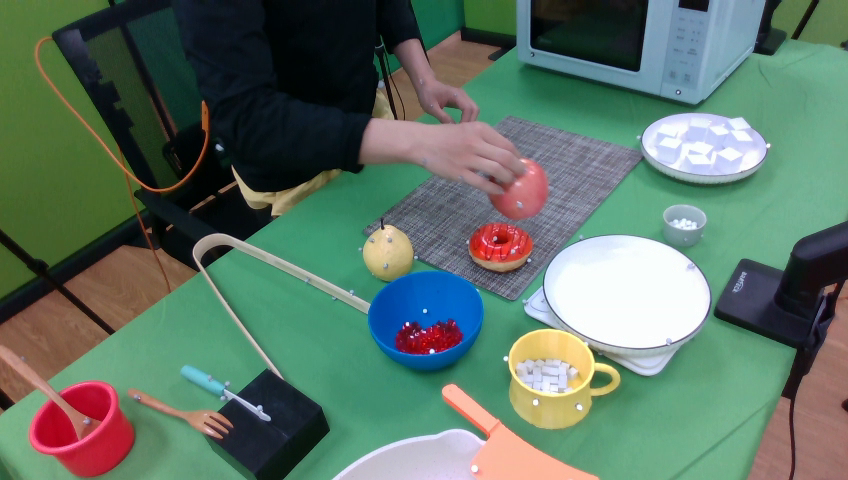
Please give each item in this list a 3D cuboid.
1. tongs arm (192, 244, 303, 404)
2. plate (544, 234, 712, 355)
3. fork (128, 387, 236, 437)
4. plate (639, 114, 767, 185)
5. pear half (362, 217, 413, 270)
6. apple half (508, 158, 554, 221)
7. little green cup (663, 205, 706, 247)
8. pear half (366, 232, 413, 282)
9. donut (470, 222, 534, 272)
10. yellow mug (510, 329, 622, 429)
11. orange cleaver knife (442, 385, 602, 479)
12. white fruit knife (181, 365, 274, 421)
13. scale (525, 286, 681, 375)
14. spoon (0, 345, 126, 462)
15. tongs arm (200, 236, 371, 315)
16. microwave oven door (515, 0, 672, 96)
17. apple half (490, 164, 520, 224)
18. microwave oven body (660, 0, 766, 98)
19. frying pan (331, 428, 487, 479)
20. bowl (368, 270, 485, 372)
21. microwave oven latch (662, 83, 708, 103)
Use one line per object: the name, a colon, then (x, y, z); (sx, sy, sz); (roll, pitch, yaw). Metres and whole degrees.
tongs arm: (-0.268, 0.110, 0.882); (0.028, 0.028, 0.384); (-35, 46, -18)
plate: (0.262, 0.072, 0.792); (0.209, 0.038, 0.208); (-4, 41, 4)
fork: (-0.305, 0.208, 0.744); (0.206, 0.019, 0.028); (3, 41, 36)
plate: (0.489, -0.157, 1.074); (0.207, 0.039, 0.206); (-4, 40, 4)
pear half: (-0.059, 0.002, 0.913); (0.076, 0.110, 0.055); (-14, 40, -13)
apple half: (0.144, -0.068, 0.798); (0.053, 0.075, 0.080); (-12, 31, 6)
little green cup: (0.396, -0.020, 0.926); (0.061, 0.039, 0.061); (-4, 40, 4)
pear half: (-0.048, 0.031, 0.893); (0.071, 0.088, 0.031); (-16, 40, -14)
donut: (0.119, 0.009, 0.923); (0.099, 0.048, 0.098); (-4, 38, 4)
yellow mug: (0.168, 0.164, 0.721); (0.130, 0.064, 0.099); (0, 40, 8)
orange cleaver knife: (0.085, 0.219, 0.612); (0.209, 0.012, 0.077); (28, 49, 35)
white fruit knife: (-0.246, 0.188, 0.747); (0.205, 0.027, 0.016); (9, 41, 41)
scale: (0.254, 0.091, 0.821); (0.199, 0.032, 0.149); (27, 51, 35)
spoon: (-0.434, 0.192, 0.720); (0.194, 0.021, 0.042); (47, 53, -6)
tongs arm: (-0.209, 0.062, 0.924); (0.381, 0.026, 0.051); (23, 53, 32)
microwave oven door: (0.343, -0.455, 1.259); (0.353, 0.245, 0.039); (26, 51, 33)
apple half: (0.105, -0.058, 0.804); (0.033, 0.081, 0.081); (-7, 40, -5)
microwave oven body: (0.472, -0.513, 1.317); (0.438, 0.261, 0.327); (26, 51, 34)
frying pan: (-0.089, 0.306, 0.564); (0.487, 0.103, 0.306); (10, 41, 7)
bowl: (0.007, 0.119, 0.791); (0.151, 0.077, 0.150); (-5, 40, 4)
microwave oven latch: (0.517, -0.296, 1.204); (0.078, 0.029, 0.030); (28, 52, 35)
